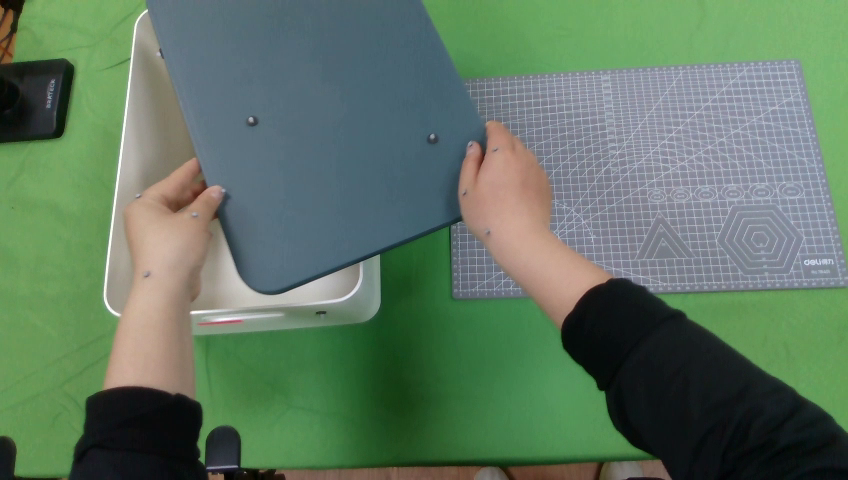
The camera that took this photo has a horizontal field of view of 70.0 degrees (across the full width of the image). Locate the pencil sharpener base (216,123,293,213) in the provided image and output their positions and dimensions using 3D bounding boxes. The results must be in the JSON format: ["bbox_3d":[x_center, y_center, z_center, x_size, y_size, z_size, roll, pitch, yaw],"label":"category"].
[{"bbox_3d":[-0.200,-0.080,0.724,0.061,0.107,0.076,-6,74,2],"label":"pencil sharpener base"}]

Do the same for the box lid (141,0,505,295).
[{"bbox_3d":[-0.108,-0.152,0.595,0.263,0.015,0.369,-22,73,-8],"label":"box lid"}]

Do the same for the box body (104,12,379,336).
[{"bbox_3d":[-0.188,-0.079,0.700,0.254,0.161,0.361,-5,72,3],"label":"box body"}]

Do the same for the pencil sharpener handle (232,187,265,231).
[{"bbox_3d":[-0.199,-0.035,0.698,0.036,0.068,0.030,-3,73,-8],"label":"pencil sharpener handle"}]
